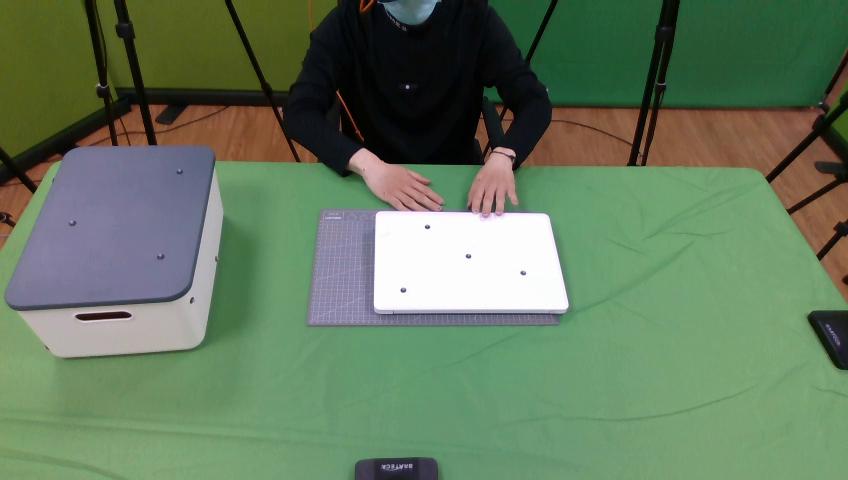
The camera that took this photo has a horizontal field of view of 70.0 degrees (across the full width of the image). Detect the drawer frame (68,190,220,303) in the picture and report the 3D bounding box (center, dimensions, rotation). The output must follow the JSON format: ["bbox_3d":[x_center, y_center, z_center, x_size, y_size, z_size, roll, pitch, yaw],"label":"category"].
[{"bbox_3d":[-0.495,0.007,1.100,0.202,0.083,0.212,-1,48,-4],"label":"drawer frame"}]

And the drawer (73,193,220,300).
[{"bbox_3d":[-0.494,0.009,1.103,0.195,0.073,0.210,2,45,-6],"label":"drawer"}]

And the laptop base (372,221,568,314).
[{"bbox_3d":[0.080,0.049,1.159,0.355,0.023,0.234,0,43,-4],"label":"laptop base"}]

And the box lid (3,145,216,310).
[{"bbox_3d":[-0.495,-0.040,0.998,0.263,0.015,0.369,-2,47,-8],"label":"box lid"}]

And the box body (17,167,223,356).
[{"bbox_3d":[-0.499,0.012,1.051,0.254,0.161,0.361,-3,47,-7],"label":"box body"}]

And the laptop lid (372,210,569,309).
[{"bbox_3d":[0.081,0.031,1.141,0.357,0.013,0.240,2,50,-3],"label":"laptop lid"}]
